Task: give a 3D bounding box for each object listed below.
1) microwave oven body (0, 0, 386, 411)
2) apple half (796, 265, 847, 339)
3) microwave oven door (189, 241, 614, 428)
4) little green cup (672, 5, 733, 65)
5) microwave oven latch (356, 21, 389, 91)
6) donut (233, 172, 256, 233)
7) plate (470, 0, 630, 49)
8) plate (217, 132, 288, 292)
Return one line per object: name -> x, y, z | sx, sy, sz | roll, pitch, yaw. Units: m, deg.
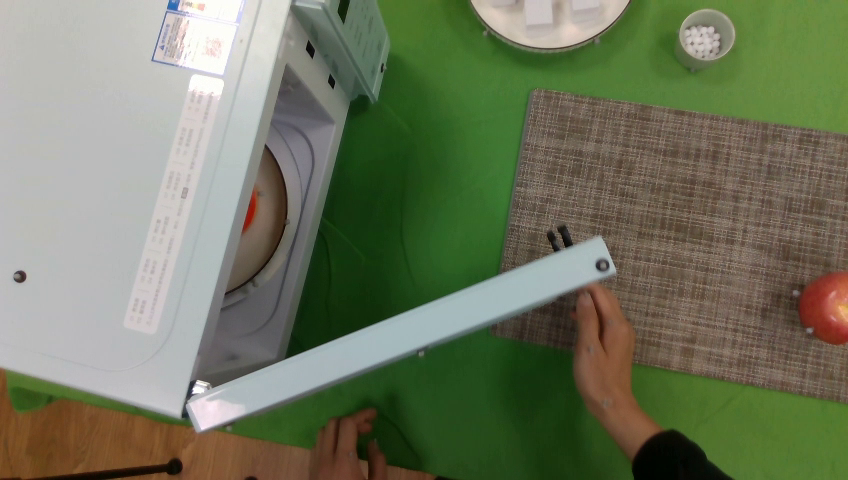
microwave oven body -> -0.258, -0.092, 0.632 | 0.325, 0.261, 0.441 | 13, 87, 6
apple half -> 0.431, 0.060, 0.647 | 0.053, 0.075, 0.081 | 30, 92, 12
microwave oven door -> -0.010, 0.085, 0.587 | 0.356, 0.244, 0.039 | -22, 82, 3
little green cup -> 0.321, -0.236, 0.705 | 0.061, 0.039, 0.061 | -1, 84, 6
microwave oven latch -> -0.063, -0.221, 0.722 | 0.030, 0.029, 0.079 | 15, 87, 6
donut -> -0.234, -0.049, 0.668 | 0.099, 0.048, 0.099 | 0, 88, 6
plate -> 0.152, -0.327, 0.730 | 0.207, 0.039, 0.207 | -1, 85, 6
plate -> -0.252, -0.041, 0.676 | 0.209, 0.038, 0.208 | 0, 86, 3
